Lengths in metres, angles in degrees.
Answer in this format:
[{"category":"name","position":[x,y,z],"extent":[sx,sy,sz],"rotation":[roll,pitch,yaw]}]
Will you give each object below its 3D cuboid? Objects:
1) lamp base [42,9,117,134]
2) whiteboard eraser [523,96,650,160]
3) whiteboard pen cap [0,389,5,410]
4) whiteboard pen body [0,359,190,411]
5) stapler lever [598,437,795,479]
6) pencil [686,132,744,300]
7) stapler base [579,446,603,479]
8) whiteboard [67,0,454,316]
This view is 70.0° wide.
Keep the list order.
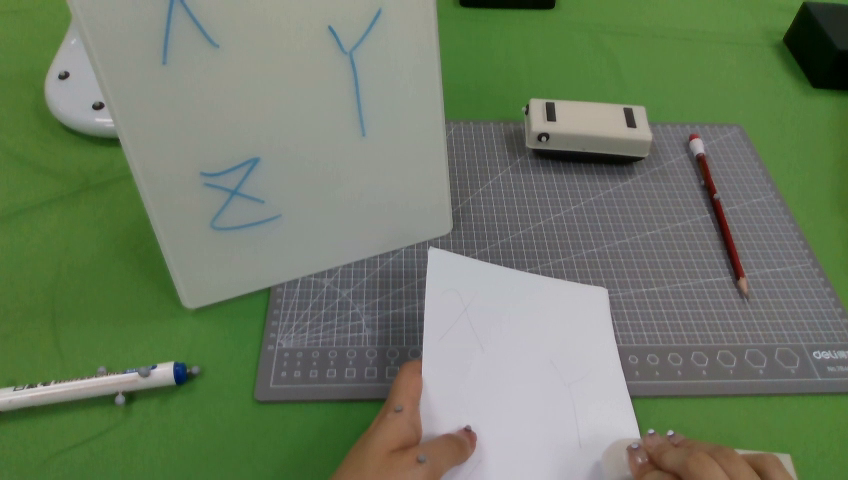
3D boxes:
[{"category":"lamp base","position":[-0.291,-0.214,0.540],"extent":[0.178,0.182,0.160],"rotation":[32,55,24]},{"category":"whiteboard eraser","position":[0.150,-0.104,0.570],"extent":[0.113,0.042,0.055],"rotation":[5,51,0]},{"category":"whiteboard pen cap","position":[-0.288,0.104,0.384],"extent":[0.033,0.018,0.018],"rotation":[-9,51,-10]},{"category":"whiteboard pen body","position":[-0.228,0.097,0.397],"extent":[0.141,0.017,0.017],"rotation":[-8,51,-10]},{"category":"stapler lever","position":[0.166,0.138,0.367],"extent":[0.118,0.040,0.026],"rotation":[0,53,5]},{"category":"pencil","position":[0.258,-0.028,0.539],"extent":[0.012,0.012,0.192],"rotation":[4,52,0]},{"category":"stapler base","position":[0.165,0.149,0.380],"extent":[0.131,0.024,0.041],"rotation":[5,53,-3]},{"category":"whiteboard","position":[-0.113,-0.134,0.445],"extent":[0.218,0.308,0.142],"rotation":[-16,34,-16]}]
